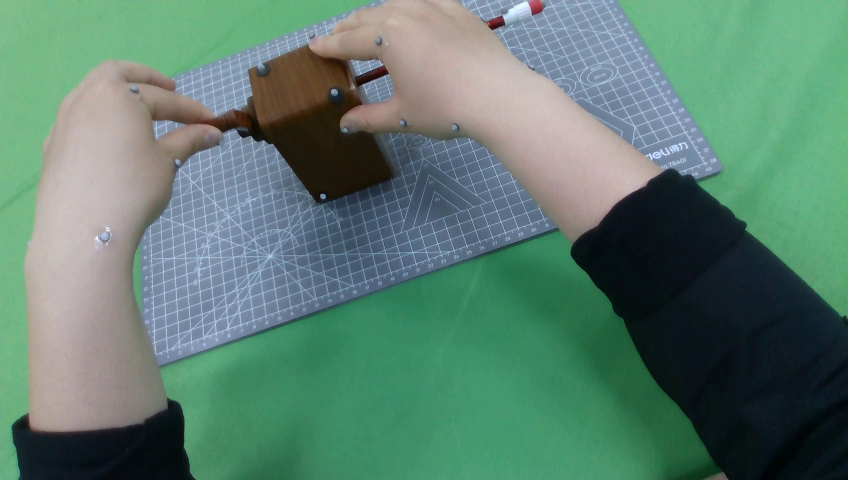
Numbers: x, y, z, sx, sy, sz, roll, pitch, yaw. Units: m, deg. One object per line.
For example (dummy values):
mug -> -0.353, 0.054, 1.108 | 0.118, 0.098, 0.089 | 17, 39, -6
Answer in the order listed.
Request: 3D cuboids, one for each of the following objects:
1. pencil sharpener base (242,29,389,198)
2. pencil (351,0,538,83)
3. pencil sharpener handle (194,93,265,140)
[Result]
pencil sharpener base -> -0.080, -0.089, 0.457 | 0.077, 0.108, 0.061 | -22, 60, 2
pencil -> -0.011, -0.131, 0.428 | 0.194, 0.012, 0.012 | -22, 61, 4
pencil sharpener handle -> -0.134, -0.081, 0.419 | 0.030, 0.067, 0.036 | -22, 97, 2
